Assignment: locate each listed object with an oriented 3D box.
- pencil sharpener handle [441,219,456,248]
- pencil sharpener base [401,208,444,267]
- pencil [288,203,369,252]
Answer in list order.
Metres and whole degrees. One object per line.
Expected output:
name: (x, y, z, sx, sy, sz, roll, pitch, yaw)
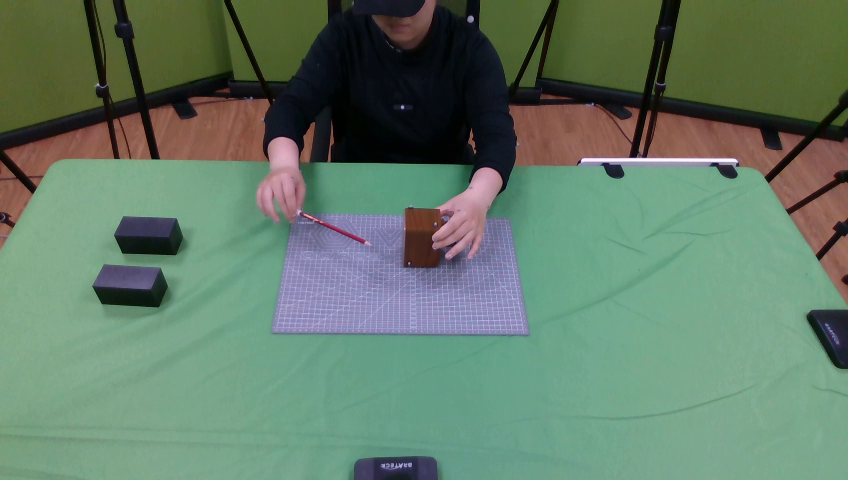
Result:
pencil sharpener handle: (0.047, -0.011, 1.132, 0.031, 0.068, 0.036, 1, 46, -4)
pencil sharpener base: (-0.004, -0.003, 1.137, 0.077, 0.107, 0.061, 1, 45, -4)
pencil: (-0.178, -0.023, 1.124, 0.193, 0.012, 0.012, 29, 50, 19)
